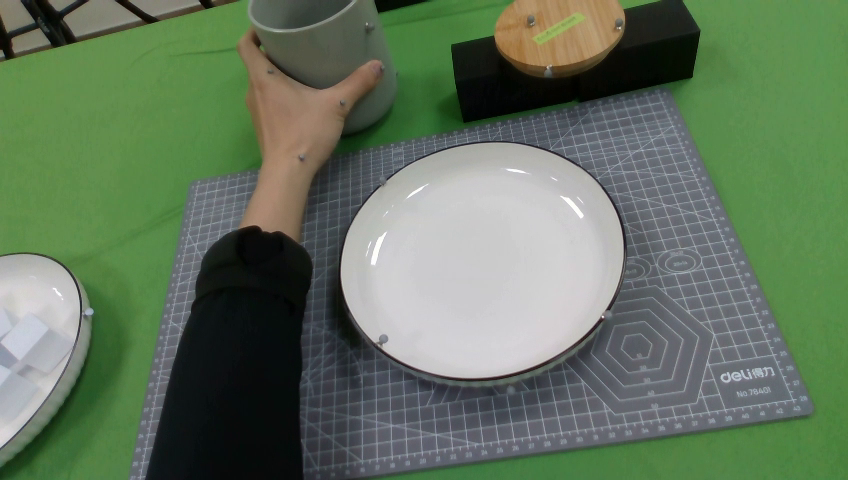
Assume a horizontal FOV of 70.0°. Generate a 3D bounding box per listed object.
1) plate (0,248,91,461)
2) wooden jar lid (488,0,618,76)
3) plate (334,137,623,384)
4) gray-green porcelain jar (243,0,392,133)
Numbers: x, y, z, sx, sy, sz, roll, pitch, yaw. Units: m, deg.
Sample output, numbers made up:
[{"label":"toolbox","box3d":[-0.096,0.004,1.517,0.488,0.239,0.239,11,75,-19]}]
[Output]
[{"label":"plate","box3d":[-0.362,0.101,0.486,0.207,0.039,0.205,-6,54,9]},{"label":"wooden jar lid","box3d":[0.110,-0.178,0.517,0.108,0.021,0.107,-6,55,9]},{"label":"plate","box3d":[0.038,0.011,0.449,0.209,0.038,0.207,-7,54,10]},{"label":"gray-green porcelain jar","box3d":[-0.090,-0.172,0.557,0.106,0.128,0.105,-7,54,10]}]
